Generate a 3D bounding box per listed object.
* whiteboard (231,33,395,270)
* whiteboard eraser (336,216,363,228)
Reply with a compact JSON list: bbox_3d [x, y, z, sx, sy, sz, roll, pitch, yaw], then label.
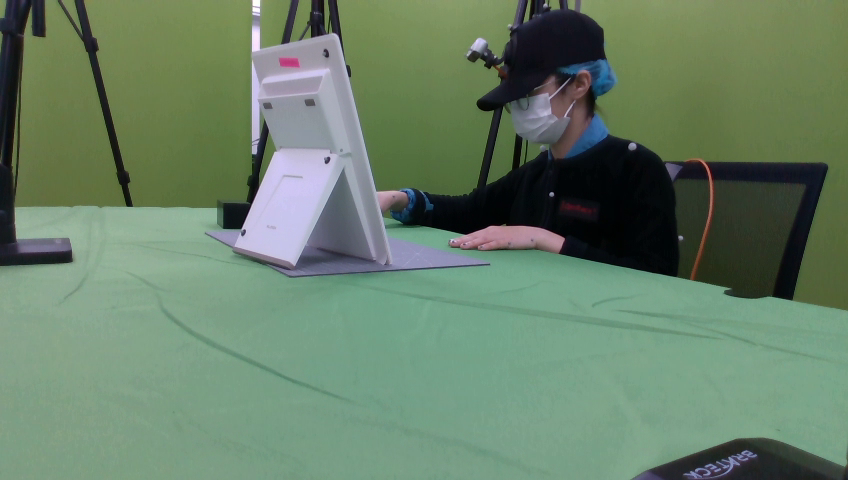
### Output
[{"bbox_3d":[-0.193,-0.094,0.805,0.144,0.305,0.216,-28,25,-35],"label":"whiteboard"},{"bbox_3d":[-0.157,-0.039,1.277,0.041,0.019,0.101,5,7,9],"label":"whiteboard eraser"}]
